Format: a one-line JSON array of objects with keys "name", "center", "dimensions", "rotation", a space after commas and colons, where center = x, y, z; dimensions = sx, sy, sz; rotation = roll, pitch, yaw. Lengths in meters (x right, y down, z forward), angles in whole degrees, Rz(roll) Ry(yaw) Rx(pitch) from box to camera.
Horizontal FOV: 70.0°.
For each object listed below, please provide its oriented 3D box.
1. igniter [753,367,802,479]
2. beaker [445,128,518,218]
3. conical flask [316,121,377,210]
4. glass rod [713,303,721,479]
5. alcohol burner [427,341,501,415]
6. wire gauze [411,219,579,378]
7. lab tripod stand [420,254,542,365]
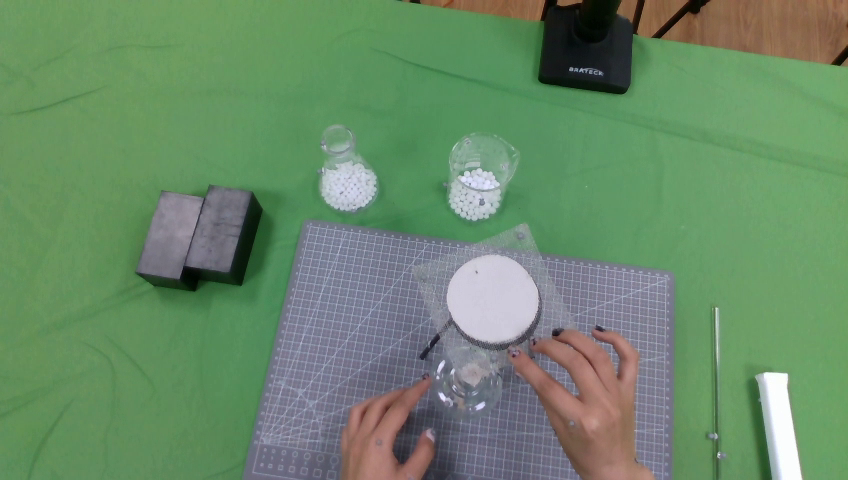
[{"name": "igniter", "center": [0.381, 0.273, 0.634], "dimensions": [0.057, 0.025, 0.274], "rotation": [6, 71, -11]}, {"name": "beaker", "center": [0.063, -0.074, 0.708], "dimensions": [0.084, 0.101, 0.073], "rotation": [-17, 72, -8]}, {"name": "conical flask", "center": [-0.094, -0.090, 0.696], "dimensions": [0.075, 0.122, 0.075], "rotation": [1, 70, -1]}, {"name": "glass rod", "center": [0.332, 0.165, 0.684], "dimensions": [0.008, 0.008, 0.198], "rotation": [11, 69, 2]}, {"name": "alcohol burner", "center": [0.043, 0.139, 0.622], "dimensions": [0.078, 0.120, 0.077], "rotation": [1, 69, -2]}, {"name": "wire gauze", "center": [0.066, 0.053, 0.571], "dimensions": [0.125, 0.011, 0.120], "rotation": [-20, 74, -7]}, {"name": "lab tripod stand", "center": [0.063, 0.080, 0.633], "dimensions": [0.148, 0.132, 0.147], "rotation": [0, 72, -1]}]
